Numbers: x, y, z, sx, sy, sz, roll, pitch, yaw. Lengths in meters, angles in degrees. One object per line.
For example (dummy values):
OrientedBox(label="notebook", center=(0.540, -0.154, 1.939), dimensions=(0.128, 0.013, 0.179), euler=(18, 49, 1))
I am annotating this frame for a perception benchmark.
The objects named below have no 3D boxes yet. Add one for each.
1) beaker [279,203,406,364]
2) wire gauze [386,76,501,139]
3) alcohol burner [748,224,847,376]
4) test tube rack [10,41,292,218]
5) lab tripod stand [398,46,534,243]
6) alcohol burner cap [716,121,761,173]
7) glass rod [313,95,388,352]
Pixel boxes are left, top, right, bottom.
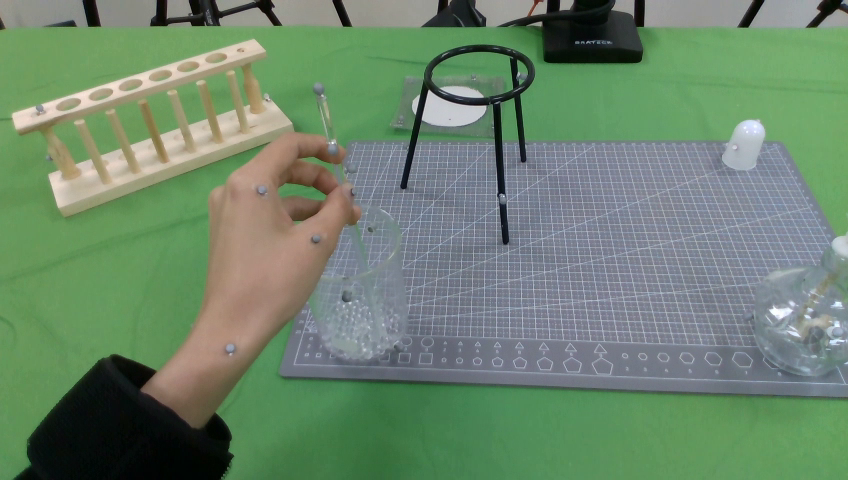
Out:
OrientedBox(label="beaker", center=(-0.054, 0.035, 0.436), dimensions=(0.084, 0.101, 0.073), euler=(-1, 44, 4))
OrientedBox(label="wire gauze", center=(0.025, -0.156, 0.698), dimensions=(0.125, 0.011, 0.120), euler=(3, 43, 8))
OrientedBox(label="alcohol burner", center=(0.265, 0.036, 0.404), dimensions=(0.078, 0.120, 0.077), euler=(-2, 42, 2))
OrientedBox(label="test tube rack", center=(-0.268, -0.118, 0.620), dimensions=(0.242, 0.086, 0.066), euler=(-26, 48, -21))
OrientedBox(label="lab tripod stand", center=(0.042, -0.089, 0.533), dimensions=(0.148, 0.133, 0.147), euler=(-3, 46, 3))
OrientedBox(label="alcohol burner cap", center=(0.305, -0.093, 0.585), dimensions=(0.034, 0.048, 0.033), euler=(-2, 44, 2))
OrientedBox(label="glass rod", center=(-0.044, 0.002, 0.391), dimensions=(0.008, 0.201, 0.008), euler=(-7, 35, 5))
